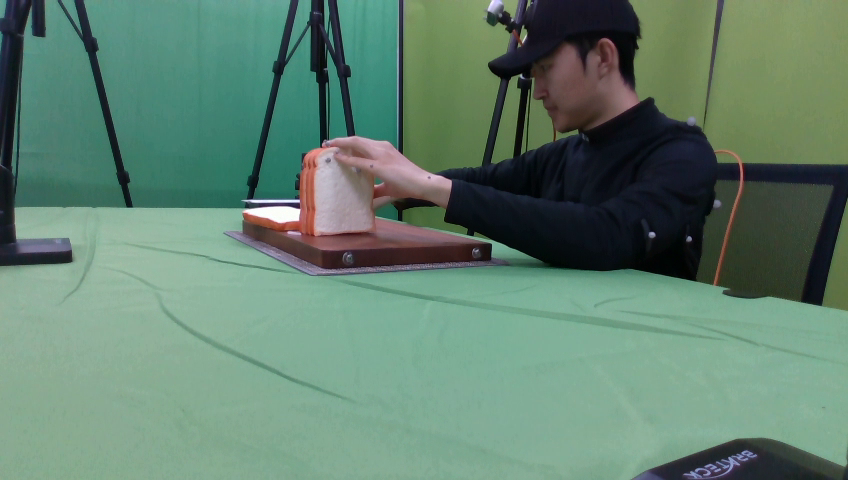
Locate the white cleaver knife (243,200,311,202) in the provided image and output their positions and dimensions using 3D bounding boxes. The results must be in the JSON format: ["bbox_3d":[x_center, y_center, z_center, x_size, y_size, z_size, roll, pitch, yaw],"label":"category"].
[{"bbox_3d":[-0.249,-0.086,1.296,0.288,0.021,0.065,-2,9,-40],"label":"white cleaver knife"}]

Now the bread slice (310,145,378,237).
[{"bbox_3d":[-0.124,-0.073,0.904,0.107,0.134,0.018,-10,11,-33],"label":"bread slice"}]

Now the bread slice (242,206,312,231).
[{"bbox_3d":[-0.233,-0.037,1.000,0.131,0.019,0.105,13,15,40],"label":"bread slice"}]
